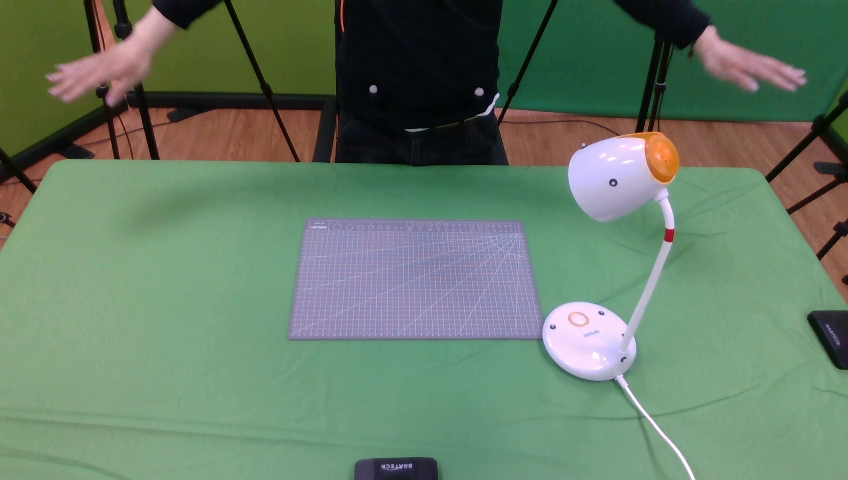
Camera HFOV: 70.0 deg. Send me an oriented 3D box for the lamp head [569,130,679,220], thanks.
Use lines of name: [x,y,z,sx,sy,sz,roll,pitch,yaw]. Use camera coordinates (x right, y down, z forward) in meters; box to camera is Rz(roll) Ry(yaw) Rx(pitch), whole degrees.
lamp head: [0.272,-0.090,0.798,0.113,0.122,0.112,7,78,-33]

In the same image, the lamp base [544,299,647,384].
lamp base: [0.299,0.124,0.984,0.161,0.181,0.178,-23,55,-23]
